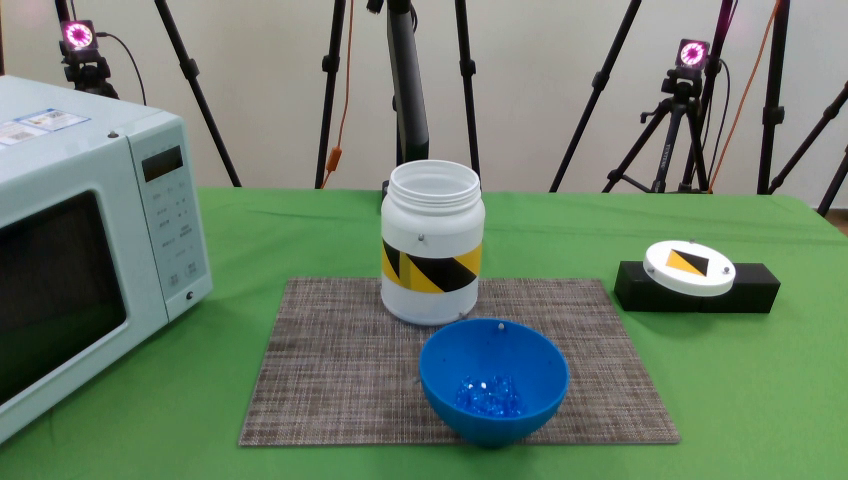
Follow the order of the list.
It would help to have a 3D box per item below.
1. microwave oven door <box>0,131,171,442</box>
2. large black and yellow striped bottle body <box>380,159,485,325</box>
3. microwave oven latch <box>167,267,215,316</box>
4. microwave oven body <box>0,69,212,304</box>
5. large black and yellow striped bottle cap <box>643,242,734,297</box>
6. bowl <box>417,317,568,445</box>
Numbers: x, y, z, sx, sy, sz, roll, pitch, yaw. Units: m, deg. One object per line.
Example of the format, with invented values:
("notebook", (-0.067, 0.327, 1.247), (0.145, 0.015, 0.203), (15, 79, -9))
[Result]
("microwave oven door", (-0.394, 0.069, 0.541), (0.039, 0.245, 0.355), (15, 33, 21))
("large black and yellow striped bottle body", (0.009, 0.001, 0.776), (0.131, 0.185, 0.129), (2, 30, -1))
("microwave oven latch", (-0.300, 0.062, 0.765), (0.030, 0.030, 0.079), (17, 34, 22))
("microwave oven body", (-0.507, 0.020, 0.627), (0.324, 0.262, 0.440), (16, 33, 20))
("large black and yellow striped bottle cap", (0.356, 0.037, 0.817), (0.115, 0.019, 0.114), (1, 30, 0))
("bowl", (0.067, 0.155, 0.622), (0.151, 0.077, 0.150), (2, 30, -1))
